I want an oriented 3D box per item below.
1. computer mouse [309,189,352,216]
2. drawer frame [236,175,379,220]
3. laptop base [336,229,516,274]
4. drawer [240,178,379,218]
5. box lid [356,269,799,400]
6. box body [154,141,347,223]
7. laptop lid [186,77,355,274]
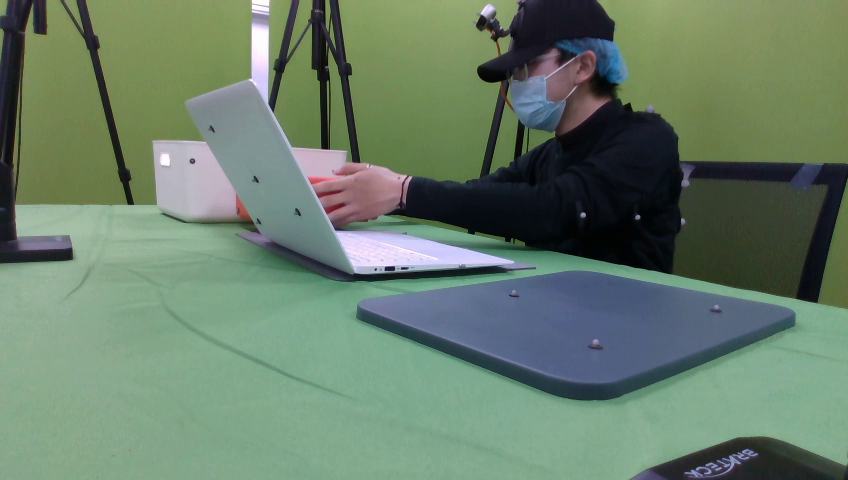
[{"bbox_3d":[-0.178,-0.071,1.149,0.063,0.041,0.116,4,13,-24],"label":"computer mouse"},{"bbox_3d":[-0.220,-0.081,1.126,0.215,0.082,0.200,-2,5,-30],"label":"drawer frame"},{"bbox_3d":[-0.066,0.014,0.877,0.237,0.023,0.352,2,6,-32],"label":"laptop base"},{"bbox_3d":[-0.216,-0.079,1.129,0.213,0.073,0.193,-1,5,-30],"label":"drawer"},{"bbox_3d":[0.152,0.068,0.564,0.374,0.015,0.262,-4,10,-41],"label":"box lid"},{"bbox_3d":[-0.384,-0.131,1.346,0.366,0.160,0.253,-3,9,-36],"label":"box body"},{"bbox_3d":[-0.211,-0.081,0.772,0.013,0.242,0.355,-35,25,-23],"label":"laptop lid"}]
